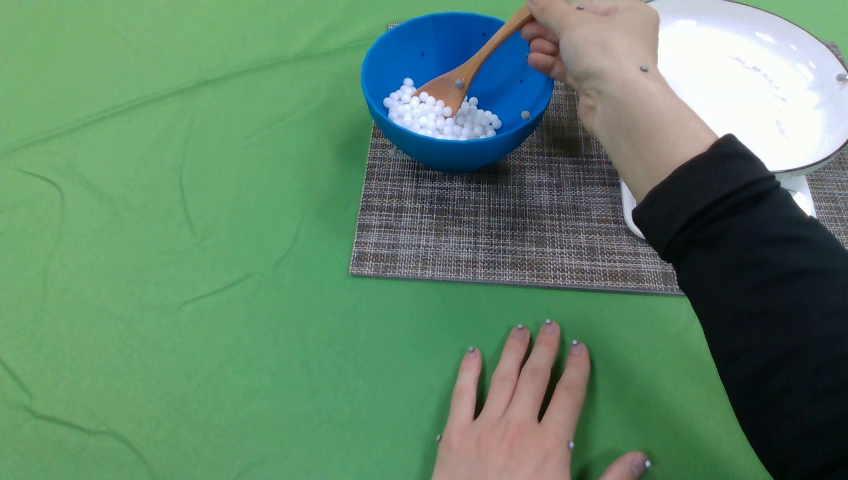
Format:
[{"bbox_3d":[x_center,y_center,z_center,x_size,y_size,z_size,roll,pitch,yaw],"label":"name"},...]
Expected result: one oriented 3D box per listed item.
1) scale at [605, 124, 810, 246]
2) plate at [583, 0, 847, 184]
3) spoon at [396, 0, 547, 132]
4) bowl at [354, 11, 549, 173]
[{"bbox_3d":[0.230,-0.086,0.512,0.148,0.032,0.199,3,57,2],"label":"scale"},{"bbox_3d":[0.232,-0.123,0.497,0.209,0.038,0.207,1,56,-1],"label":"plate"},{"bbox_3d":[0.051,-0.149,0.460,0.022,0.194,0.041,-1,58,-55],"label":"spoon"},{"bbox_3d":[0.021,-0.109,0.498,0.151,0.077,0.150,0,56,0],"label":"bowl"}]
